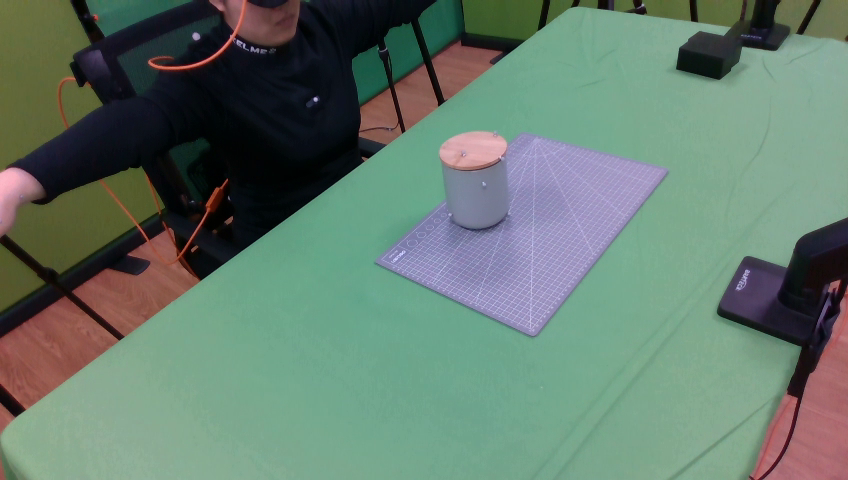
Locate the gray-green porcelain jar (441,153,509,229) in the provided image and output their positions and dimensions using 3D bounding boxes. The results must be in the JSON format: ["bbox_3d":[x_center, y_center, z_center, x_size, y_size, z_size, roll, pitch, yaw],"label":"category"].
[{"bbox_3d":[0.086,-0.090,0.988,0.106,0.127,0.105,-5,40,5],"label":"gray-green porcelain jar"}]

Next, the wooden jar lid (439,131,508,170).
[{"bbox_3d":[0.078,-0.136,0.948,0.108,0.021,0.108,-5,38,5],"label":"wooden jar lid"}]
